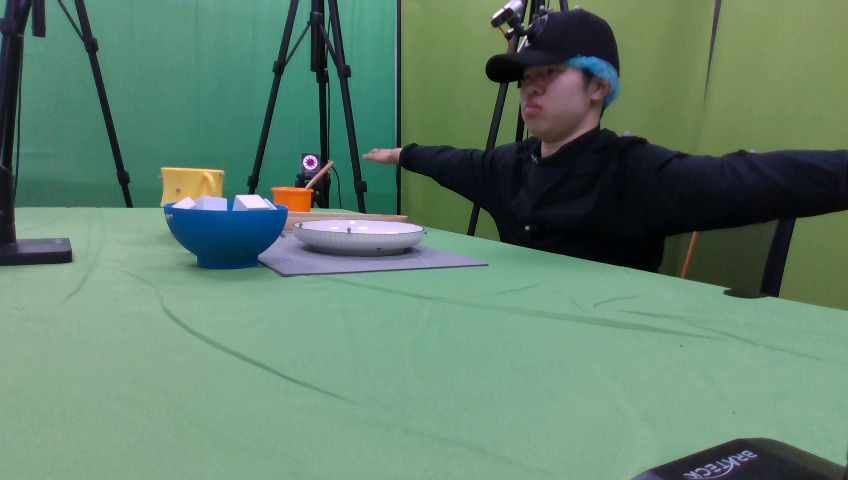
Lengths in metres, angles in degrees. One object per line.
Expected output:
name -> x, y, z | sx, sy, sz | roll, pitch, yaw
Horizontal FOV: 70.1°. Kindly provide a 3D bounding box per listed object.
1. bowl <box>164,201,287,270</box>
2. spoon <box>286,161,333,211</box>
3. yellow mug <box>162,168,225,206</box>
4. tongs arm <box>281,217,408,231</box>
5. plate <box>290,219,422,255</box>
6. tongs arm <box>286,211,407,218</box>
bowl -> -0.254, -0.006, 0.782 | 0.151, 0.077, 0.151 | 2, 8, 0
spoon -> -0.262, -0.115, 1.359 | 0.041, 0.194, 0.022 | 13, -32, 37
yellow mug -> -0.383, -0.087, 1.026 | 0.130, 0.064, 0.100 | 11, 11, 44
tongs arm -> -0.181, -0.033, 1.200 | 0.390, 0.028, 0.028 | -2, 4, -39
plate -> -0.108, -0.005, 0.963 | 0.208, 0.039, 0.207 | 3, 7, 0
tongs arm -> -0.222, -0.045, 1.271 | 0.387, 0.026, 0.050 | 1, 6, -25
